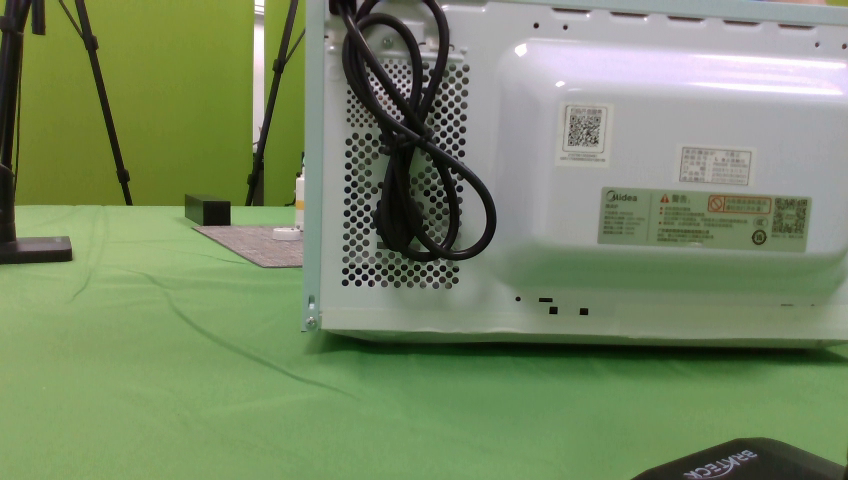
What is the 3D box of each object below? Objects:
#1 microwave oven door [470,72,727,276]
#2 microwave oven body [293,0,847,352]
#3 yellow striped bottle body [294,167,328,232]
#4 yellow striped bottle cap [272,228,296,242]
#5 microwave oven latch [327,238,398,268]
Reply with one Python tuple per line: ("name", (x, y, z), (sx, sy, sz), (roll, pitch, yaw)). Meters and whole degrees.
("microwave oven door", (0.217, -0.094, 0.836), (0.039, 0.243, 0.354), (2, 5, -44))
("microwave oven body", (0.122, -0.055, 0.551), (0.442, 0.260, 0.325), (3, 7, -5))
("yellow striped bottle body", (-0.213, -0.078, 1.142), (0.063, 0.120, 0.063), (2, 7, 0))
("yellow striped bottle cap", (-0.232, -0.008, 1.012), (0.044, 0.018, 0.044), (4, 8, 0))
("microwave oven latch", (-0.070, 0.015, 0.694), (0.079, 0.029, 0.030), (3, 7, -3))
